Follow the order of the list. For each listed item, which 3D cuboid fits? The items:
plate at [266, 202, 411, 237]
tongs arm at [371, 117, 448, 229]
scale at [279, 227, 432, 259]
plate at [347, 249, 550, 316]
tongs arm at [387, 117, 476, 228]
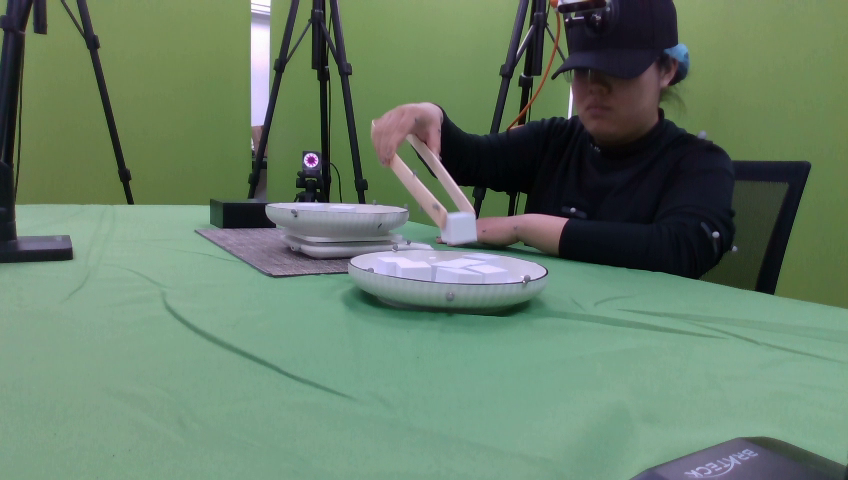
[{"bbox_3d":[-0.123,-0.030,0.879,0.208,0.039,0.207,2,6,0],"label":"plate"},{"bbox_3d":[-0.021,-0.108,0.845,0.051,0.026,0.383,-5,28,-20],"label":"tongs arm"},{"bbox_3d":[-0.100,0.001,0.899,0.202,0.031,0.148,-1,9,-31],"label":"scale"},{"bbox_3d":[0.024,0.042,0.627,0.209,0.038,0.209,2,7,0],"label":"plate"},{"bbox_3d":[0.003,-0.109,0.852,0.028,0.028,0.386,-6,28,-14],"label":"tongs arm"}]
